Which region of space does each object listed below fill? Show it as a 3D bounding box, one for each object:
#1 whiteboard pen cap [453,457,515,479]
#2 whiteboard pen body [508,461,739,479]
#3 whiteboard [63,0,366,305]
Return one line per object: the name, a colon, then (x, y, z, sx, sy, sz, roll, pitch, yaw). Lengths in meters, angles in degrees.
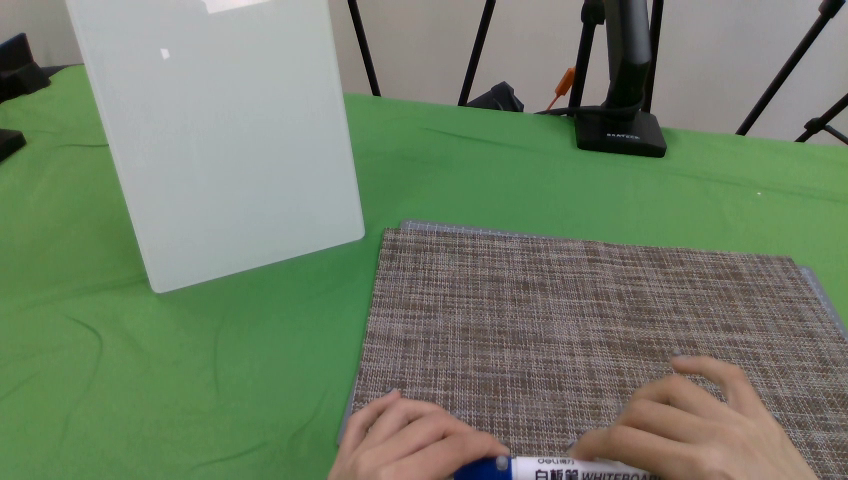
whiteboard pen cap: (0.033, 0.126, 0.326, 0.033, 0.018, 0.018, -6, 37, 5)
whiteboard pen body: (0.093, 0.126, 0.320, 0.141, 0.017, 0.017, -1, 37, 4)
whiteboard: (-0.205, -0.126, 0.616, 0.218, 0.307, 0.142, -16, 22, -23)
